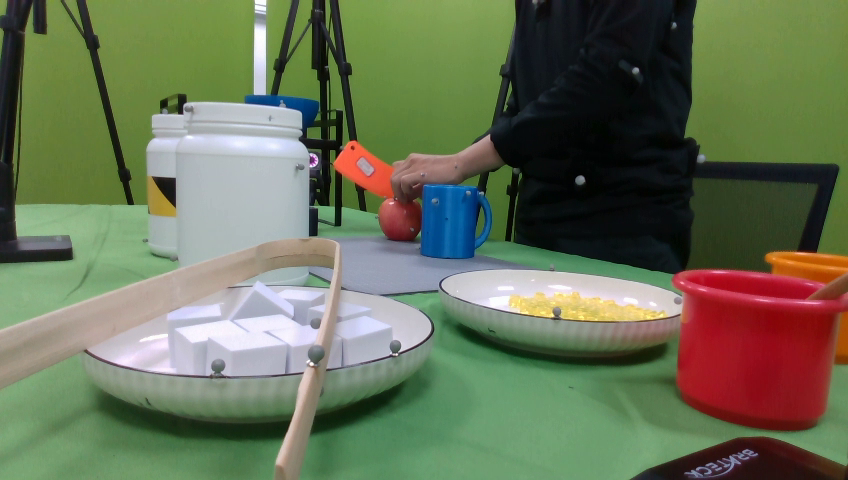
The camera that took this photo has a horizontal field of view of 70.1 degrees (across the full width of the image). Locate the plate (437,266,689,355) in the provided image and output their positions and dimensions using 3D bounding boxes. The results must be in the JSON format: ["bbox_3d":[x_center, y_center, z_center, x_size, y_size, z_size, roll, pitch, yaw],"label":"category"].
[{"bbox_3d":[0.114,0.057,0.517,0.209,0.038,0.209,3,7,0],"label":"plate"}]

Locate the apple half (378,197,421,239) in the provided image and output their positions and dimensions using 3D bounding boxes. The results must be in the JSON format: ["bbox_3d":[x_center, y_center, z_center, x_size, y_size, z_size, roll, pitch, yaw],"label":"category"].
[{"bbox_3d":[-0.036,-0.037,1.056,0.081,0.074,0.053,4,10,-25],"label":"apple half"}]

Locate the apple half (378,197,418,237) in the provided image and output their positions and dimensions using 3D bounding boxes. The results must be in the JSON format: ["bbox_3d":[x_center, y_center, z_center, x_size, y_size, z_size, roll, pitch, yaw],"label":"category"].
[{"bbox_3d":[-0.052,-0.044,1.091,0.082,0.081,0.032,-1,14,-25],"label":"apple half"}]

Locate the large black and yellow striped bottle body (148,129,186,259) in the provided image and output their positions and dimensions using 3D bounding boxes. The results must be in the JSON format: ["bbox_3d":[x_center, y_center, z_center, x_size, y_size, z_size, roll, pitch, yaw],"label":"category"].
[{"bbox_3d":[-0.310,-0.073,0.838,0.131,0.184,0.130,2,8,0],"label":"large black and yellow striped bottle body"}]

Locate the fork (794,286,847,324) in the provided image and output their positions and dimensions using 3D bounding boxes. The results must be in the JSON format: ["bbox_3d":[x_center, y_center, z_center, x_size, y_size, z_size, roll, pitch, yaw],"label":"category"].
[{"bbox_3d":[0.332,0.018,0.442,0.028,0.018,0.207,-1,-36,-15],"label":"fork"}]

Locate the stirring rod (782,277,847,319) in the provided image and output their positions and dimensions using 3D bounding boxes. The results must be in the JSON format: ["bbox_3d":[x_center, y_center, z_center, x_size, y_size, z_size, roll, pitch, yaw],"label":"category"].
[{"bbox_3d":[0.344,0.019,0.460,0.014,0.006,0.176,-13,-27,-30],"label":"stirring rod"}]

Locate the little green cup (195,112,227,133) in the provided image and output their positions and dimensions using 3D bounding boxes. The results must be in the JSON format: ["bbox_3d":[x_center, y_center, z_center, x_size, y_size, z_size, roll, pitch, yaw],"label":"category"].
[{"bbox_3d":[-0.412,-0.227,1.171,0.061,0.038,0.061,3,8,0],"label":"little green cup"}]

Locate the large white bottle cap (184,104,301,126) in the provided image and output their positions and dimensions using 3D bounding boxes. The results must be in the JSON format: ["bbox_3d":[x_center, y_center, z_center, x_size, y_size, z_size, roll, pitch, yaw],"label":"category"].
[{"bbox_3d":[-0.184,-0.126,0.618,0.115,0.018,0.115,2,8,0],"label":"large white bottle cap"}]

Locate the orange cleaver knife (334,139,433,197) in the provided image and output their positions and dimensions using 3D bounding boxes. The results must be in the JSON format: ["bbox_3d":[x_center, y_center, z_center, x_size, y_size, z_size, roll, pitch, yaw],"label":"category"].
[{"bbox_3d":[-0.068,-0.119,1.131,0.212,0.077,0.012,24,-19,-26],"label":"orange cleaver knife"}]

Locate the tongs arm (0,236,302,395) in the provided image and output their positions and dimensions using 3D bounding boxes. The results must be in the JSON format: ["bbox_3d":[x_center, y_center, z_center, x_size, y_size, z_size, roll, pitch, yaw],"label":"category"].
[{"bbox_3d":[-0.158,0.038,0.351,0.028,0.028,0.388,-3,8,12],"label":"tongs arm"}]

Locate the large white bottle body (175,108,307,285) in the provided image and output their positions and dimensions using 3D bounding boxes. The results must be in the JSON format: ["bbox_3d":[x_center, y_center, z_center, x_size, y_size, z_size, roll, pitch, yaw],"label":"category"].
[{"bbox_3d":[-0.188,-0.042,0.630,0.131,0.184,0.130,2,8,0],"label":"large white bottle body"}]

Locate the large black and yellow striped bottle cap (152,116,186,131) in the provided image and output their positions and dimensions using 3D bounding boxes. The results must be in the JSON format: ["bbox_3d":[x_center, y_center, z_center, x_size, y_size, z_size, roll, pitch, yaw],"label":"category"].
[{"bbox_3d":[-0.309,-0.155,0.826,0.115,0.019,0.115,3,6,0],"label":"large black and yellow striped bottle cap"}]

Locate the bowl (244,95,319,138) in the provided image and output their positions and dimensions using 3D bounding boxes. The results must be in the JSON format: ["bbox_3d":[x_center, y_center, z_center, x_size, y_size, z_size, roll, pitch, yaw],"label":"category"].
[{"bbox_3d":[-0.293,-0.251,1.249,0.151,0.077,0.151,2,8,0],"label":"bowl"}]

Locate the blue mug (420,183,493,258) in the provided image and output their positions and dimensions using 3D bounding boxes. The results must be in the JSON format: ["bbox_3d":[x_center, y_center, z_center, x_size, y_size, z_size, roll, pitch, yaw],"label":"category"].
[{"bbox_3d":[0.052,-0.032,0.912,0.117,0.106,0.082,-1,8,-24],"label":"blue mug"}]

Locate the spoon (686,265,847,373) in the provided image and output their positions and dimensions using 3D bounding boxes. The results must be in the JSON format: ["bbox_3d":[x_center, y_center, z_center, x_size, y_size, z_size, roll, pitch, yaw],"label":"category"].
[{"bbox_3d":[0.214,0.032,0.328,0.042,0.021,0.193,-2,-35,-25],"label":"spoon"}]

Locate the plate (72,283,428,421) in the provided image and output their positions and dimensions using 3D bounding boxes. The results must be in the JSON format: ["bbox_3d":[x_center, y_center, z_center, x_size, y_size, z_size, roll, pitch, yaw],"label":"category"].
[{"bbox_3d":[-0.102,0.066,0.381,0.208,0.039,0.207,2,7,0],"label":"plate"}]

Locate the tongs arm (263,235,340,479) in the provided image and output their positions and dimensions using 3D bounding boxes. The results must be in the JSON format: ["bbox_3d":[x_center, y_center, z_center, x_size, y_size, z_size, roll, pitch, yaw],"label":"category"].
[{"bbox_3d":[-0.074,0.039,0.349,0.051,0.026,0.384,-2,9,-3],"label":"tongs arm"}]
